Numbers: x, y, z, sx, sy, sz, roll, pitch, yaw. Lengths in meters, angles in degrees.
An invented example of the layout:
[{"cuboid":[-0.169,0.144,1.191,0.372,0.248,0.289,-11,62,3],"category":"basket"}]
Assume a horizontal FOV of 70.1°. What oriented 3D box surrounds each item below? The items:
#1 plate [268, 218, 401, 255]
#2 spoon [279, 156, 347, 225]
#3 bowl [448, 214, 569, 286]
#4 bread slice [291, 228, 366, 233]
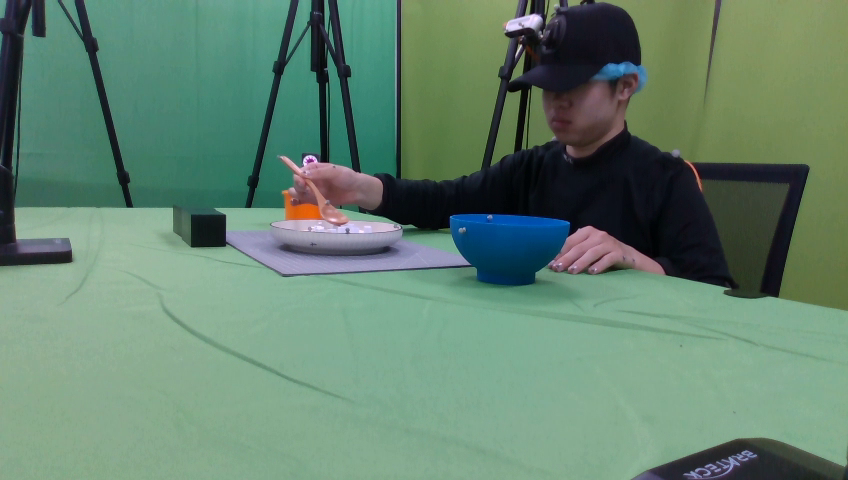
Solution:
[{"cuboid":[-0.140,-0.006,0.958,0.209,0.038,0.209,3,7,0],"category":"plate"},{"cuboid":[-0.189,-0.086,1.008,0.042,0.021,0.193,-12,52,-43],"category":"spoon"},{"cuboid":[0.103,0.012,0.758,0.151,0.077,0.151,2,7,0],"category":"bowl"},{"cuboid":[-0.143,-0.003,0.953,0.135,0.018,0.106,-1,9,-37],"category":"bread slice"}]
